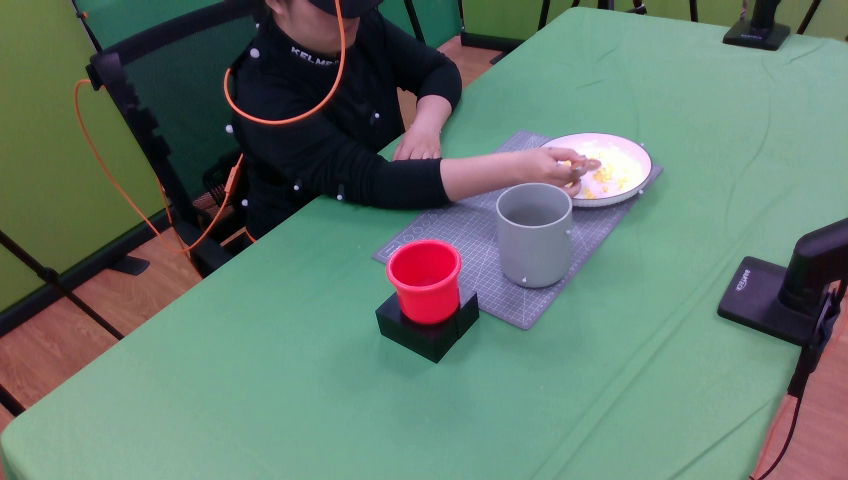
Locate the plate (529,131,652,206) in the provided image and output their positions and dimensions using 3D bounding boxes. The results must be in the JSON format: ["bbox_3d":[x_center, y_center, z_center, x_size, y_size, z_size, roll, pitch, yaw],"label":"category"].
[{"bbox_3d":[0.287,-0.121,1.056,0.207,0.039,0.206,-5,40,5],"label":"plate"}]

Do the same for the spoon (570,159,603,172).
[{"bbox_3d":[0.252,-0.118,0.956,0.041,0.021,0.195,7,9,23],"label":"spoon"}]

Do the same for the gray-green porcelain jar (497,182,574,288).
[{"bbox_3d":[0.160,-0.003,0.869,0.106,0.127,0.105,-5,40,5],"label":"gray-green porcelain jar"}]
